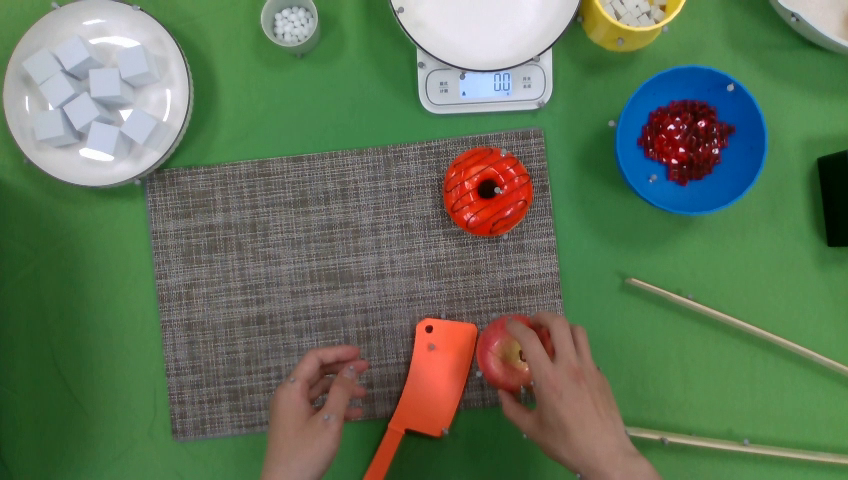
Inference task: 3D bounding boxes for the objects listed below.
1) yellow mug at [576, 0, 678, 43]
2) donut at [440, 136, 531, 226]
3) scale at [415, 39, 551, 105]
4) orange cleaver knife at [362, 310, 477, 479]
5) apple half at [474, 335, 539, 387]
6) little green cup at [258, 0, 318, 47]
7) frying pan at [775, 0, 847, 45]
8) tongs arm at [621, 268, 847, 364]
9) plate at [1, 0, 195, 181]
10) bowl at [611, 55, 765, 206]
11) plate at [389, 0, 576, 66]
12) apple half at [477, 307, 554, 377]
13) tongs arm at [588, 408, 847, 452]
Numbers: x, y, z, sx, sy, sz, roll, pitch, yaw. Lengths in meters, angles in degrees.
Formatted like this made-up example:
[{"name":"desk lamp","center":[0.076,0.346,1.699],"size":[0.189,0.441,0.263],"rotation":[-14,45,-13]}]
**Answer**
[{"name":"yellow mug","center":[0.208,-0.282,0.645],"size":[0.100,0.064,0.130],"rotation":[-39,88,1]},{"name":"donut","center":[0.065,-0.063,0.654],"size":[0.099,0.048,0.099],"rotation":[0,90,3]},{"name":"scale","center":[0.063,-0.253,0.665],"size":[0.148,0.031,0.200],"rotation":[-2,90,1]},{"name":"orange cleaver knife","center":[-0.005,0.173,0.666],"size":[0.077,0.012,0.211],"rotation":[22,88,-5]},{"name":"apple half","center":[0.079,0.131,0.628],"size":[0.081,0.081,0.033],"rotation":[33,87,2]},{"name":"little green cup","center":[-0.146,-0.244,0.665],"size":[0.061,0.038,0.061],"rotation":[0,89,2]},{"name":"frying pan","center":[0.537,-0.253,0.620],"size":[0.307,0.103,0.486],"rotation":[-33,81,2]},{"name":"tongs arm","center":[0.395,0.113,0.659],"size":[0.387,0.028,0.028],"rotation":[24,82,1]},{"name":"plate","center":[-0.353,-0.166,0.669],"size":[0.208,0.039,0.207],"rotation":[0,90,1]},{"name":"bowl","center":[0.264,-0.108,0.638],"size":[0.151,0.077,0.151],"rotation":[0,90,1]},{"name":"plate","center":[0.060,-0.284,0.632],"size":[0.209,0.038,0.209],"rotation":[0,90,1]},{"name":"apple half","center":[0.101,0.098,0.629],"size":[0.080,0.075,0.053],"rotation":[31,89,9]},{"name":"tongs arm","center":[0.374,0.196,0.655],"size":[0.385,0.026,0.050],"rotation":[9,85,1]}]
